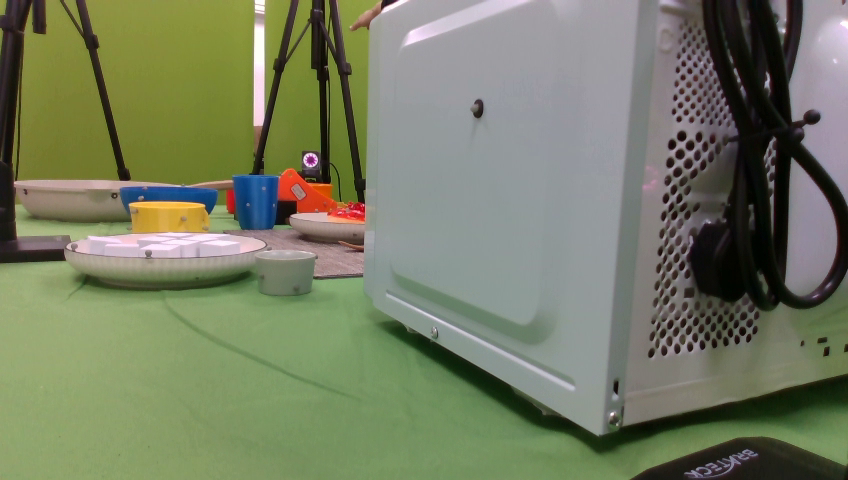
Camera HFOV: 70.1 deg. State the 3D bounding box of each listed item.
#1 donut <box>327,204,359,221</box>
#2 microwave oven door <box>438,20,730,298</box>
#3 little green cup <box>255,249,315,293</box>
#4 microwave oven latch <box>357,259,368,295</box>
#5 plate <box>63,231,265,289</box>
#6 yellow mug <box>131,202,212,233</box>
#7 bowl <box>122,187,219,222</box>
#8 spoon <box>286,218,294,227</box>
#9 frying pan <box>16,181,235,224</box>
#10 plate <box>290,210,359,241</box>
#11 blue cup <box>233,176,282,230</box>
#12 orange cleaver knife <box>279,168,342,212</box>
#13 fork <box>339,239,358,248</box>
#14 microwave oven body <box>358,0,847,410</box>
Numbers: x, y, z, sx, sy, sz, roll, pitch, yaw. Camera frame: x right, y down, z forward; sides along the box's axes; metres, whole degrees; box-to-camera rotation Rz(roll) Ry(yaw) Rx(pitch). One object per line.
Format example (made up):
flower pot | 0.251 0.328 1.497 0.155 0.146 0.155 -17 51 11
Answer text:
donut | -0.120 -0.037 1.056 0.099 0.048 0.099 5 6 0
microwave oven door | 0.181 -0.076 0.618 0.358 0.243 0.039 -2 8 -28
little green cup | -0.144 0.032 0.627 0.061 0.038 0.061 2 5 0
microwave oven latch | -0.019 0.031 0.529 0.079 0.029 0.030 -1 7 -26
plate | -0.288 0.021 0.687 0.208 0.039 0.207 2 8 0
yellow mug | -0.356 -0.020 0.878 0.099 0.064 0.131 5 7 21
bowl | -0.421 -0.046 1.012 0.151 0.077 0.151 2 8 0
spoon | -0.180 -0.036 1.209 0.195 0.021 0.041 -3 -11 -31
frying pan | -0.554 -0.097 1.266 0.490 0.102 0.305 -10 13 -24
plate | -0.127 -0.025 1.051 0.209 0.038 0.209 2 7 0
blue cup | -0.314 -0.071 1.141 0.093 0.100 0.092 0 7 0
orange cleaver knife | -0.236 -0.083 1.332 0.212 0.077 0.012 31 -10 -31
fork | -0.027 0.003 0.925 0.208 0.018 0.028 -2 -2 -19
microwave oven body | 0.210 -0.051 0.471 0.444 0.260 0.324 -1 7 -28
